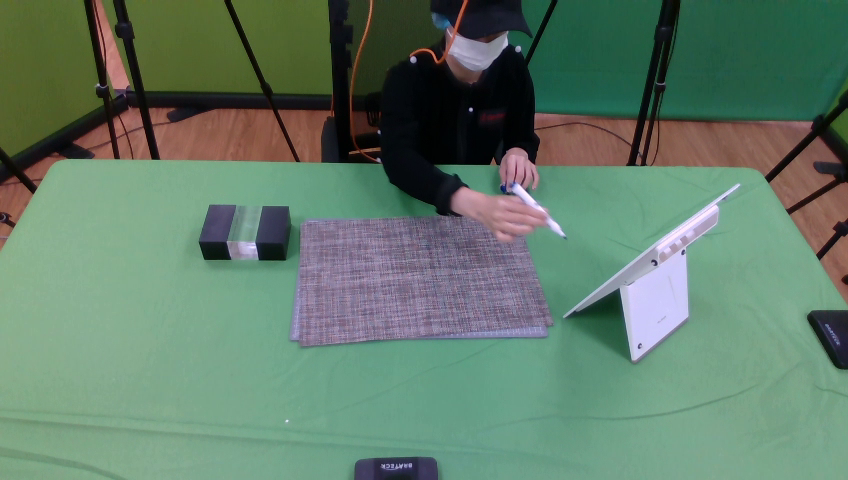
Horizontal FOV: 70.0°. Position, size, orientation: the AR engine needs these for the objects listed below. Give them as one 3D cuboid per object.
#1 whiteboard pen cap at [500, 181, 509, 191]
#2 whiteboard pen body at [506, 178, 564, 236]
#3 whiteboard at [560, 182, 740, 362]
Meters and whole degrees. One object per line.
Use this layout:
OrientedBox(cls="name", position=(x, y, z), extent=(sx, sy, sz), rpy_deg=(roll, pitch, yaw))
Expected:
OrientedBox(cls="whiteboard pen cap", position=(0.179, -0.119, 1.309), extent=(0.033, 0.018, 0.018), rpy_deg=(-29, 55, -22))
OrientedBox(cls="whiteboard pen body", position=(0.192, -0.054, 1.040), extent=(0.141, 0.017, 0.017), rpy_deg=(43, 49, -12))
OrientedBox(cls="whiteboard", position=(0.406, 0.075, 1.001), extent=(0.217, 0.306, 0.143), rpy_deg=(-28, 73, -28))
